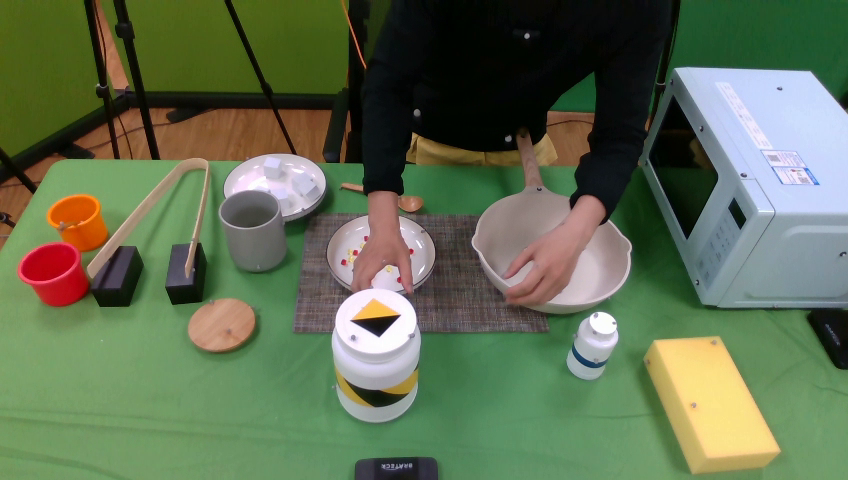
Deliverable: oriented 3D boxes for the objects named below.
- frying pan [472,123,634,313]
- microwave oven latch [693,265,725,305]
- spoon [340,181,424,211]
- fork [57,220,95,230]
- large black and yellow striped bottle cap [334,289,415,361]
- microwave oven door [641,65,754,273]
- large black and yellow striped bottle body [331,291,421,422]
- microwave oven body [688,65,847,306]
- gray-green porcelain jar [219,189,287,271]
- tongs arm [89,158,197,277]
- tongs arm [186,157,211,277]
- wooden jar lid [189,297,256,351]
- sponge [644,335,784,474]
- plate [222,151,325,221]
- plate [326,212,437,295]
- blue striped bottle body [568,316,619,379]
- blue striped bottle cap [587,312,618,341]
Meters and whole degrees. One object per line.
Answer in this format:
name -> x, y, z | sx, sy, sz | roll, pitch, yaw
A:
frying pan -> 0.236, -0.061, 1.207 | 0.307, 0.103, 0.484 | 2, 55, -6
microwave oven latch -> 0.523, 0.081, 1.116 | 0.030, 0.029, 0.078 | 2, 46, -1
spoon -> -0.090, -0.100, 1.282 | 0.193, 0.022, 0.041 | 18, 66, 12
fork -> -0.624, -0.027, 1.087 | 0.028, 0.207, 0.018 | -3, 92, -17
large black and yellow striped bottle cap -> -0.069, 0.117, 0.850 | 0.115, 0.019, 0.114 | 2, 45, -2
microwave oven door -> 0.524, -0.148, 1.193 | 0.039, 0.245, 0.353 | 0, 47, -3
large black and yellow striped bottle body -> -0.071, 0.175, 0.911 | 0.131, 0.185, 0.130 | 2, 47, -2
microwave oven body -> 0.669, -0.111, 1.176 | 0.326, 0.261, 0.439 | 0, 46, -3
gray-green porcelain jar -> -0.309, -0.014, 1.113 | 0.106, 0.127, 0.105 | 2, 46, -2
tongs arm -> -0.530, -0.058, 1.163 | 0.028, 0.028, 0.385 | 2, 35, 7
tongs arm -> -0.446, -0.058, 1.169 | 0.051, 0.026, 0.382 | -4, 37, -7
wooden jar lid -> -0.342, 0.145, 1.033 | 0.108, 0.021, 0.107 | 2, 45, -2
sponge -> 0.449, 0.253, 0.956 | 0.118, 0.061, 0.205 | -4, 46, -7
plate -> -0.310, -0.106, 1.262 | 0.208, 0.039, 0.206 | 2, 47, -2
plate -> -0.080, 0.030, 1.143 | 0.209, 0.038, 0.208 | 3, 46, -3
blue striped bottle body -> 0.276, 0.168, 0.984 | 0.063, 0.121, 0.062 | 2, 46, -2
blue striped bottle cap -> 0.279, 0.134, 0.946 | 0.044, 0.021, 0.044 | 2, 45, -2
